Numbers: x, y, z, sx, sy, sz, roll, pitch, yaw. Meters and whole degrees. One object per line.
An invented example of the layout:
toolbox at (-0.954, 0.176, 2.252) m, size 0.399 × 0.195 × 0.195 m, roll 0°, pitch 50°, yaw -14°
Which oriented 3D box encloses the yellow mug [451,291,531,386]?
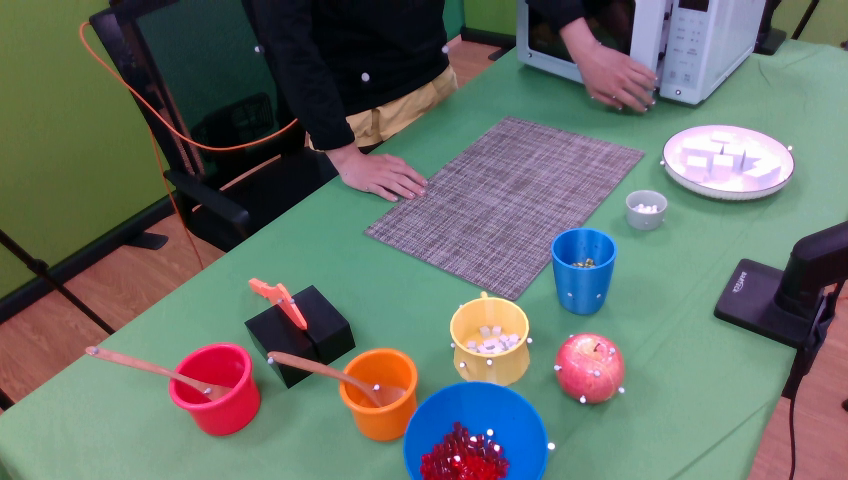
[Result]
yellow mug at (0.086, 0.120, 0.786) m, size 0.100 × 0.064 × 0.130 m, roll -7°, pitch 39°, yaw 1°

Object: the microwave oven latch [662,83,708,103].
microwave oven latch at (0.518, -0.297, 1.204) m, size 0.078 × 0.029 × 0.030 m, roll 29°, pitch 53°, yaw 36°

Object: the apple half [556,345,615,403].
apple half at (0.181, 0.167, 0.709) m, size 0.080 × 0.081 × 0.033 m, roll 30°, pitch 50°, yaw 36°

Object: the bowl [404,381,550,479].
bowl at (0.058, 0.235, 0.645) m, size 0.151 × 0.077 × 0.150 m, roll -4°, pitch 39°, yaw 4°

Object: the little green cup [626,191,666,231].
little green cup at (0.352, -0.046, 0.963) m, size 0.061 × 0.039 × 0.061 m, roll -4°, pitch 40°, yaw 4°

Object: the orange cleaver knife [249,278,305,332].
orange cleaver knife at (-0.210, 0.089, 0.855) m, size 0.012 × 0.077 × 0.210 m, roll -28°, pitch 15°, yaw -24°

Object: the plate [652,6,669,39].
plate at (0.440, -0.484, 1.365) m, size 0.209 × 0.038 × 0.208 m, roll -5°, pitch 41°, yaw 5°

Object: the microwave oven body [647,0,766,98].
microwave oven body at (0.472, -0.513, 1.317) m, size 0.438 × 0.261 × 0.327 m, roll 26°, pitch 51°, yaw 34°

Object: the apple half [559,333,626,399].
apple half at (0.209, 0.147, 0.730) m, size 0.080 × 0.075 × 0.053 m, roll 26°, pitch 48°, yaw 38°

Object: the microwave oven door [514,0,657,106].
microwave oven door at (0.325, -0.441, 1.247) m, size 0.039 × 0.245 × 0.352 m, roll -33°, pitch 46°, yaw -26°

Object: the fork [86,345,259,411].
fork at (-0.298, 0.167, 0.728) m, size 0.209 × 0.018 × 0.028 m, roll 28°, pitch 47°, yaw -23°

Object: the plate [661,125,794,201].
plate at (0.513, -0.128, 1.035) m, size 0.207 × 0.039 × 0.206 m, roll -4°, pitch 40°, yaw 4°

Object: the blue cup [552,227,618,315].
blue cup at (0.218, 0.047, 0.825) m, size 0.092 × 0.101 × 0.092 m, roll -6°, pitch 40°, yaw 5°

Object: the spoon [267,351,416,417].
spoon at (-0.091, 0.163, 0.699) m, size 0.021 × 0.195 × 0.041 m, roll -44°, pitch 30°, yaw 27°
